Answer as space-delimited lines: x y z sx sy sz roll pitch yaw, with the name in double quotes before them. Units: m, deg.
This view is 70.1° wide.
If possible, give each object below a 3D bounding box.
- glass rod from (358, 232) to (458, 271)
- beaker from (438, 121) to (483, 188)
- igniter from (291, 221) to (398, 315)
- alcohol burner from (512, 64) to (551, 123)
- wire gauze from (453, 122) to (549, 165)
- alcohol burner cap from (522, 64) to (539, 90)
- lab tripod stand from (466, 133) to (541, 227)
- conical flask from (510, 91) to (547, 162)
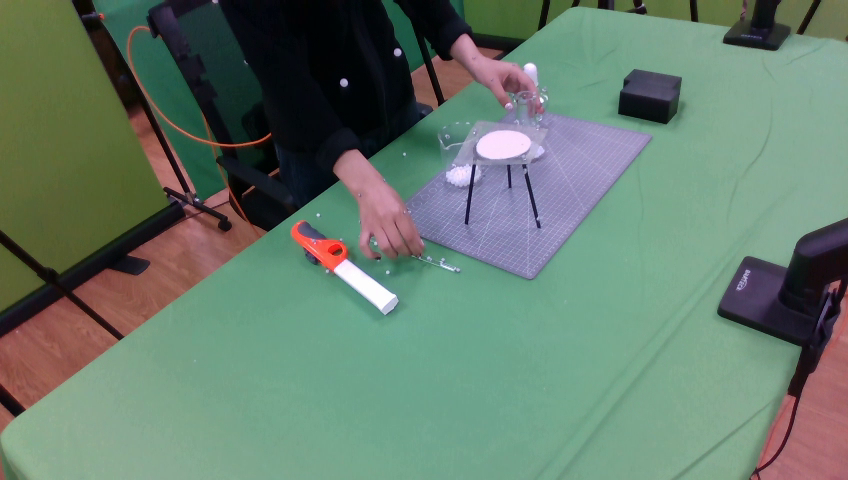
"glass rod" -0.030 0.016 0.981 0.198 0.008 0.008 19 48 29
"beaker" 0.066 -0.149 1.084 0.073 0.101 0.084 20 49 31
"igniter" -0.136 0.037 0.962 0.057 0.025 0.274 -41 48 -18
"alcohol burner" 0.215 -0.298 1.220 0.078 0.120 0.077 -7 40 7
"wire gauze" 0.121 -0.150 0.942 0.121 0.011 0.125 8 42 21
"alcohol burner cap" 0.210 -0.325 1.195 0.034 0.048 0.033 -6 45 7
"lab tripod stand" 0.130 -0.099 0.985 0.148 0.132 0.147 -6 39 6
"conical flask" 0.189 -0.212 1.116 0.075 0.122 0.075 -6 40 5
